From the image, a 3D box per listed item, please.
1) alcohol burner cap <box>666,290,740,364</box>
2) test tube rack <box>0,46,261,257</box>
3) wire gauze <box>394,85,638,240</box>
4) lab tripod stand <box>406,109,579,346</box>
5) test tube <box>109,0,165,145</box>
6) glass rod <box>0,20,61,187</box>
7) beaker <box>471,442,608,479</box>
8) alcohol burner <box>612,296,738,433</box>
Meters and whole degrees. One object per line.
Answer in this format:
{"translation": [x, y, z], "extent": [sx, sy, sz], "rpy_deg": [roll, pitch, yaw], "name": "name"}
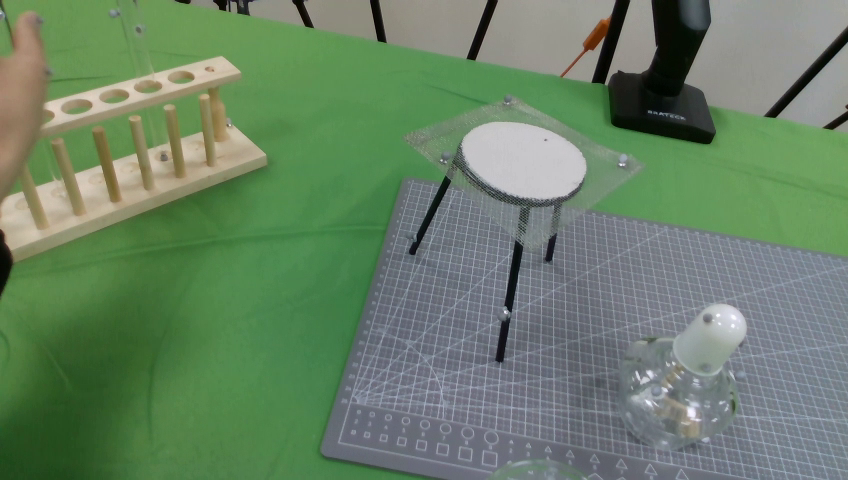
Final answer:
{"translation": [0.173, 0.051, 0.371], "extent": [0.034, 0.048, 0.033], "rpy_deg": [4, 48, -4], "name": "alcohol burner cap"}
{"translation": [-0.262, -0.080, 0.504], "extent": [0.242, 0.086, 0.066], "rpy_deg": [-30, 57, -33], "name": "test tube rack"}
{"translation": [0.062, -0.064, 0.408], "extent": [0.121, 0.011, 0.124], "rpy_deg": [-30, 58, -32], "name": "wire gauze"}
{"translation": [0.057, -0.016, 0.456], "extent": [0.148, 0.132, 0.147], "rpy_deg": [6, 46, -6], "name": "lab tripod stand"}
{"translation": [-0.238, -0.145, 0.503], "extent": [0.017, 0.151, 0.017], "rpy_deg": [3, 41, -2], "name": "test tube"}
{"translation": [-0.303, -0.124, 0.447], "extent": [0.008, 0.201, 0.008], "rpy_deg": [3, 37, -2], "name": "glass rod"}
{"translation": [0.047, 0.160, 0.306], "extent": [0.084, 0.101, 0.073], "rpy_deg": [3, 44, -5], "name": "beaker"}
{"translation": [0.169, 0.075, 0.397], "extent": [0.078, 0.120, 0.077], "rpy_deg": [6, 44, -5], "name": "alcohol burner"}
